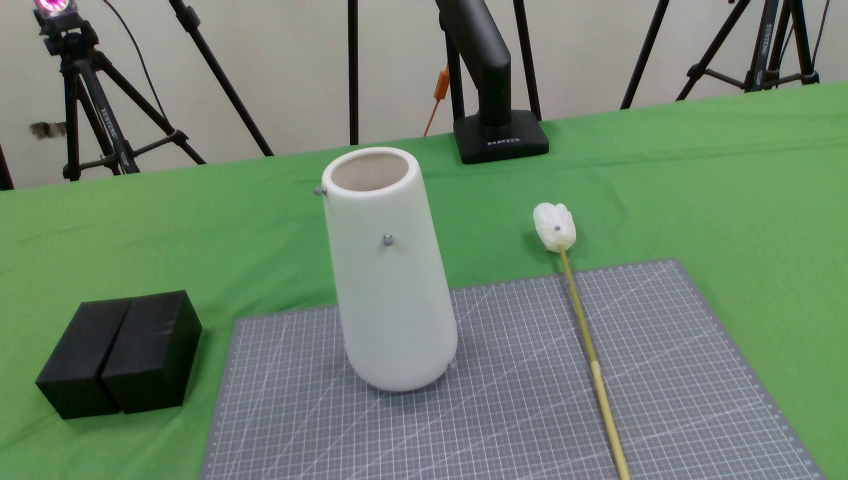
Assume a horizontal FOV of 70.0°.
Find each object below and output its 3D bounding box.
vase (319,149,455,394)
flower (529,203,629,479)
[{"bbox_3d":[-0.030,0.030,0.484,0.098,0.202,0.097,-5,36,4],"label":"vase"},{"bbox_3d":[0.142,0.084,0.544,0.044,0.038,0.358,23,36,-21],"label":"flower"}]
